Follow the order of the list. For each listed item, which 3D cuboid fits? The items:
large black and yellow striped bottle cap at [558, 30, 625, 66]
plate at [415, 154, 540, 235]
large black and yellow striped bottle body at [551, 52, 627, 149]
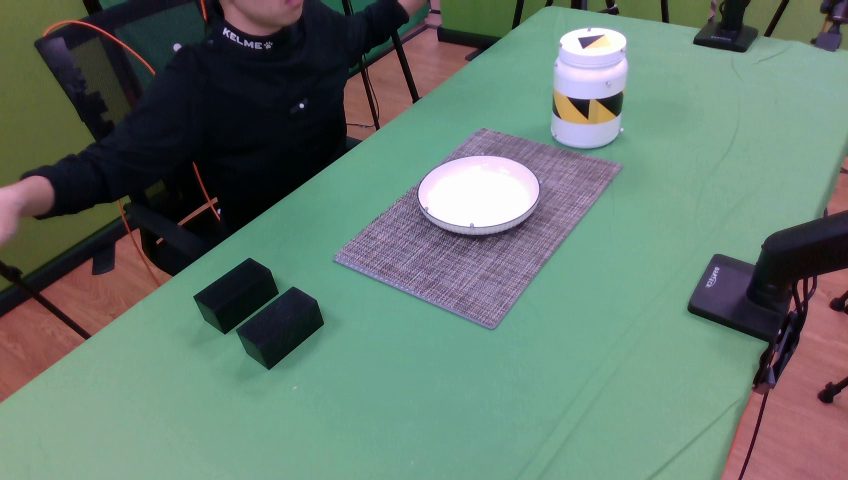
[{"bbox_3d":[0.297,-0.342,1.071,0.115,0.019,0.114,-3,42,4],"label":"large black and yellow striped bottle cap"},{"bbox_3d":[0.090,-0.074,1.025,0.207,0.039,0.206,-4,41,4],"label":"plate"},{"bbox_3d":[0.305,-0.278,1.125,0.131,0.185,0.130,-4,41,4],"label":"large black and yellow striped bottle body"}]
